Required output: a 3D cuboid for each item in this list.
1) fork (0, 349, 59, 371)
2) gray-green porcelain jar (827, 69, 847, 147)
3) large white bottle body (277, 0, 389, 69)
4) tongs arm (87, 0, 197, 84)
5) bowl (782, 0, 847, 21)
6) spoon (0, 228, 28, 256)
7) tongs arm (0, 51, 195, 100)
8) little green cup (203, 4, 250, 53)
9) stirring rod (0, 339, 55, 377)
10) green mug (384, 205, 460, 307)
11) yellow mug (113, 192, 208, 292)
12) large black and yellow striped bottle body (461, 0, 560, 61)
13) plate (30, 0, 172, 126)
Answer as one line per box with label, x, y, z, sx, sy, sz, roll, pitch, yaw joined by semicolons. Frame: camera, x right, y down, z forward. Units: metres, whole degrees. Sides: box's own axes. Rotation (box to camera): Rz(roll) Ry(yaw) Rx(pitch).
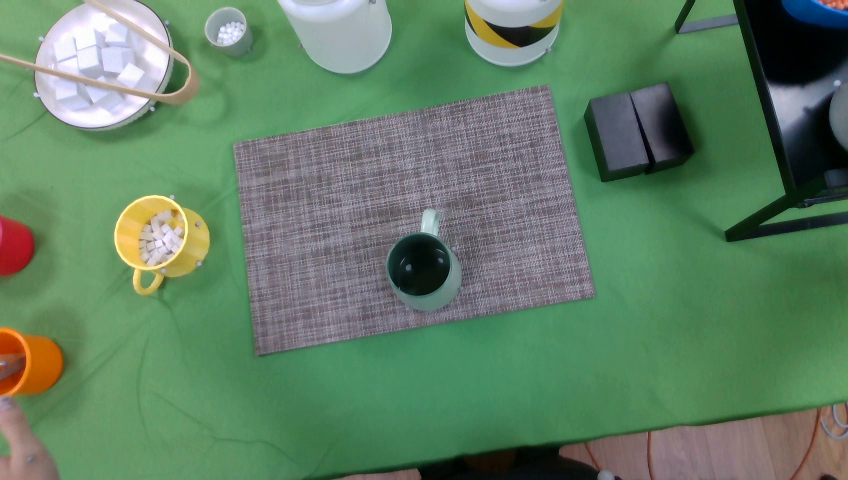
fork;-0.576;0.143;0.759;0.209;0.018;0.028;17;73;-36
gray-green porcelain jar;0.448;-0.138;0.552;0.106;0.127;0.105;-1;78;5
large white bottle body;-0.123;-0.322;0.789;0.130;0.185;0.130;-1;79;6
tongs arm;-0.468;-0.328;0.865;0.386;0.028;0.028;32;77;12
bowl;0.411;-0.278;0.606;0.151;0.077;0.150;-1;80;4
spoon;-0.637;-0.004;0.796;0.195;0.021;0.041;7;74;-38
tongs arm;-0.503;-0.254;0.852;0.384;0.027;0.050;18;78;10
little green cup;-0.283;-0.303;0.875;0.061;0.039;0.061;-1;80;4
stirring rod;-0.549;0.175;0.756;0.014;0.006;0.176;41;43;10
green mug;-0.001;0.018;0.752;0.092;0.105;0.125;6;80;7
yellow mug;-0.355;0.007;0.808;0.100;0.064;0.130;15;82;7
large black and yellow striped bottle body;0.111;-0.327;0.771;0.130;0.185;0.130;-1;79;6
plate;-0.464;-0.261;0.883;0.207;0.039;0.206;-1;79;5
